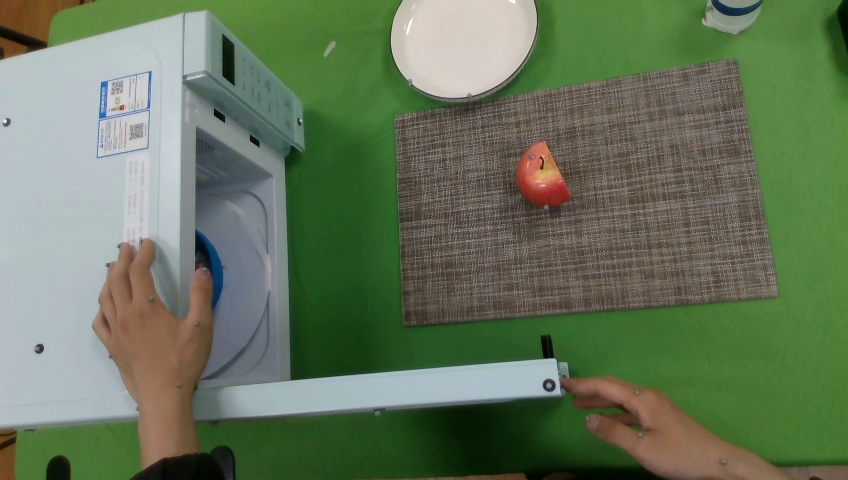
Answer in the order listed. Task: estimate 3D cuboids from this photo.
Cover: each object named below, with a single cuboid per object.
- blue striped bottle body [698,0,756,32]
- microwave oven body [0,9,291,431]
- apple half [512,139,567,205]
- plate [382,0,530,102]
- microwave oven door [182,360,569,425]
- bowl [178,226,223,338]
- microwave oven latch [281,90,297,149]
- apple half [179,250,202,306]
[{"bbox_3d":[0.369,-0.306,0.719,0.063,0.121,0.063,-3,77,15],"label":"blue striped bottle body"},{"bbox_3d":[-0.351,0.000,0.769,0.325,0.262,0.439,-8,77,13],"label":"microwave oven body"},{"bbox_3d":[0.139,-0.077,0.754,0.053,0.075,0.080,-28,76,14],"label":"apple half"},{"bbox_3d":[0.045,-0.286,0.846,0.207,0.039,0.206,-3,78,14],"label":"plate"},{"bbox_3d":[-0.031,0.159,0.647,0.355,0.245,0.039,-8,76,13],"label":"microwave oven door"},{"bbox_3d":[-0.319,0.053,0.792,0.151,0.077,0.151,-1,88,19],"label":"bowl"},{"bbox_3d":[-0.200,-0.172,0.868,0.030,0.030,0.079,-3,78,14],"label":"microwave oven latch"},{"bbox_3d":[-0.328,0.049,0.782,0.081,0.033,0.081,0,93,11],"label":"apple half"}]
